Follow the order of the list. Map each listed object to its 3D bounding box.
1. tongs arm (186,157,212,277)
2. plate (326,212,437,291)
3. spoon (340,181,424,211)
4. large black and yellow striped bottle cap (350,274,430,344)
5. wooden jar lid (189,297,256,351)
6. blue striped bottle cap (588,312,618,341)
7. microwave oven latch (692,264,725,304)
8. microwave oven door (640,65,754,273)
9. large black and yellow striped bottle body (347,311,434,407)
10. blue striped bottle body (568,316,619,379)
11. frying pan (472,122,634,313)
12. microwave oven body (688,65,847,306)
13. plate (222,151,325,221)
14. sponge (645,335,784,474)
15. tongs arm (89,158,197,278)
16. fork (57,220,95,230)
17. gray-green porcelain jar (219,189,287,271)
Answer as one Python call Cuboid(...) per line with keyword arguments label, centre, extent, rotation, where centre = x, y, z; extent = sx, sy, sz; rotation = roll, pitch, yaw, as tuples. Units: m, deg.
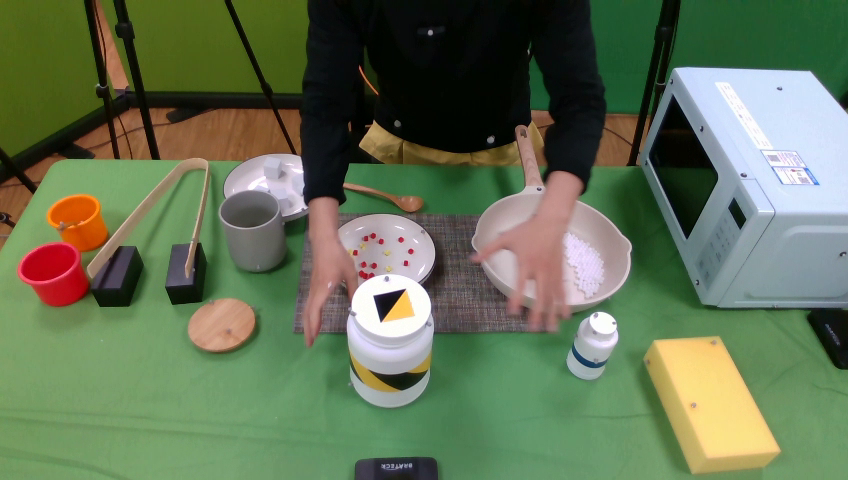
Cuboid(label="tongs arm", centre=(-0.445, -0.058, 1.168), extent=(0.051, 0.026, 0.382), rotation=(-5, 37, -6))
Cuboid(label="plate", centre=(-0.080, 0.030, 1.144), extent=(0.209, 0.038, 0.208), rotation=(2, 46, -2))
Cuboid(label="spoon", centre=(-0.090, -0.100, 1.282), extent=(0.193, 0.022, 0.041), rotation=(18, 66, 13))
Cuboid(label="large black and yellow striped bottle cap", centre=(-0.048, 0.096, 0.866), extent=(0.115, 0.019, 0.114), rotation=(4, 48, -4))
Cuboid(label="wooden jar lid", centre=(-0.342, 0.145, 1.033), extent=(0.108, 0.021, 0.107), rotation=(3, 45, -2))
Cuboid(label="blue striped bottle cap", centre=(0.279, 0.134, 0.947), extent=(0.044, 0.021, 0.044), rotation=(2, 44, -2))
Cuboid(label="microwave oven latch", centre=(0.522, 0.081, 1.116), extent=(0.030, 0.029, 0.078), rotation=(1, 46, -2))
Cuboid(label="microwave oven door", centre=(0.522, -0.147, 1.193), extent=(0.039, 0.245, 0.353), rotation=(0, 47, -3))
Cuboid(label="large black and yellow striped bottle body", centre=(-0.052, 0.157, 0.929), extent=(0.131, 0.185, 0.130), rotation=(2, 47, -2))
Cuboid(label="blue striped bottle body", centre=(0.276, 0.168, 0.984), extent=(0.063, 0.121, 0.062), rotation=(2, 46, -2))
Cuboid(label="frying pan", centre=(0.235, -0.061, 1.207), extent=(0.307, 0.103, 0.484), rotation=(1, 55, -6))
Cuboid(label="microwave oven body", centre=(0.669, -0.111, 1.176), extent=(0.326, 0.261, 0.439), rotation=(0, 46, -3))
Cuboid(label="plate", centre=(-0.310, -0.106, 1.263), extent=(0.208, 0.039, 0.206), rotation=(2, 47, -2))
Cuboid(label="sponge", centre=(0.449, 0.253, 0.956), extent=(0.118, 0.061, 0.205), rotation=(-4, 46, -7))
Cuboid(label="tongs arm", centre=(-0.530, -0.057, 1.164), extent=(0.028, 0.028, 0.385), rotation=(1, 36, 8))
Cuboid(label="fork", centre=(-0.624, -0.027, 1.086), extent=(0.028, 0.207, 0.018), rotation=(-3, 92, -17))
Cuboid(label="gray-green porcelain jar", centre=(-0.309, -0.014, 1.113), extent=(0.106, 0.127, 0.105), rotation=(2, 47, -2))
